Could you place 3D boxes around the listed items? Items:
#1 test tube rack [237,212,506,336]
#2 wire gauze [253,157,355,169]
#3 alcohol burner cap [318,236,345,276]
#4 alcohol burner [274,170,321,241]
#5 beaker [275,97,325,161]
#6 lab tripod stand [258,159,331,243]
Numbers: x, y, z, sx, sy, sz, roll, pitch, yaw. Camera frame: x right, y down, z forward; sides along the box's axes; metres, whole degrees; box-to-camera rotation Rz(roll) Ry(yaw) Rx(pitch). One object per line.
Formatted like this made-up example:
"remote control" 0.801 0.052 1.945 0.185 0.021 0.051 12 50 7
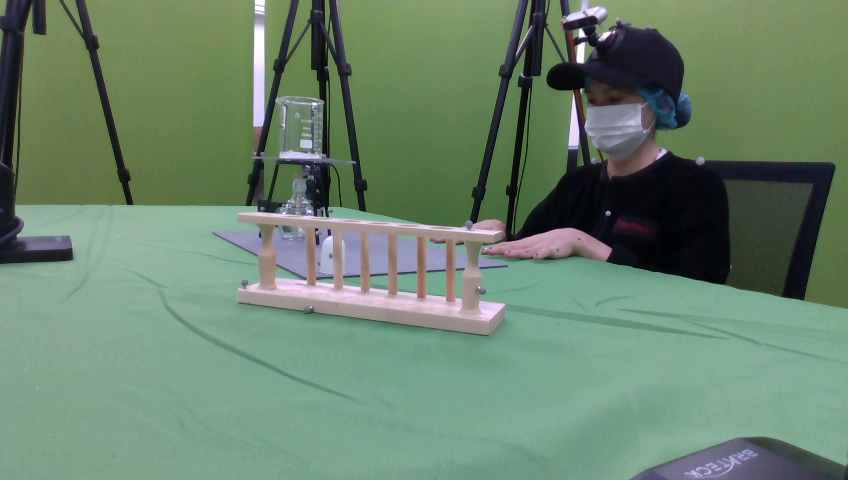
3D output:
"test tube rack" -0.049 0.024 0.552 0.242 0.085 0.067 5 8 18
"wire gauze" -0.197 -0.131 0.999 0.121 0.011 0.125 7 4 21
"alcohol burner cap" -0.110 0.019 0.723 0.034 0.048 0.034 2 6 0
"alcohol burner" -0.212 -0.058 1.015 0.078 0.119 0.078 4 5 0
"beaker" -0.204 -0.179 0.989 0.084 0.100 0.073 -2 8 -40
"lab tripod stand" -0.202 -0.067 1.010 0.148 0.131 0.148 2 5 0
